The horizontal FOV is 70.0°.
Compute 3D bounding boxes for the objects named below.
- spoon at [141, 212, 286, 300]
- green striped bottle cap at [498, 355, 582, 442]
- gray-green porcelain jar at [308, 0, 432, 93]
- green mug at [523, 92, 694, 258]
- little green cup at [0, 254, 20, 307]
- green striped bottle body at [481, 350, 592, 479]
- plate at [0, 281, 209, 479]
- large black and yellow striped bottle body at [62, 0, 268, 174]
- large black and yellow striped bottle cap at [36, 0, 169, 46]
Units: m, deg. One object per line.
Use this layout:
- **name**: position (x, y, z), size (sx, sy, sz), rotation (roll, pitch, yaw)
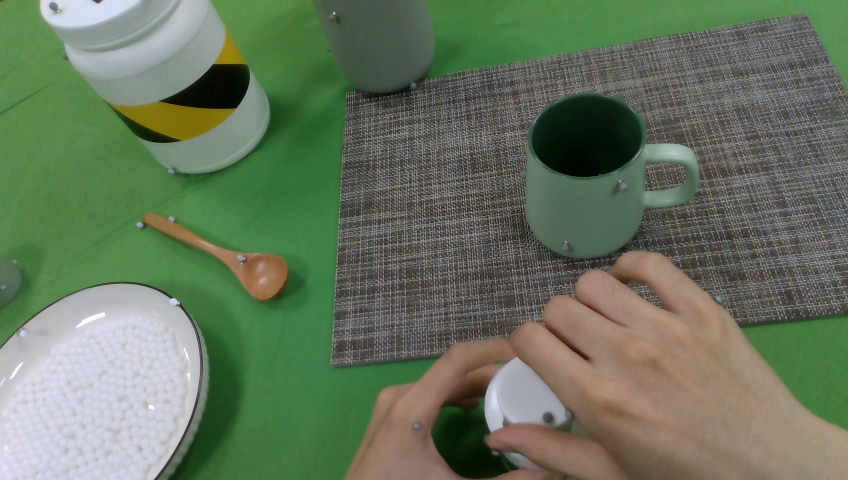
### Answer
- **spoon**: position (-0.197, 0.006, 0.551), size (0.192, 0.022, 0.041), rotation (23, 86, 23)
- **green striped bottle cap**: position (0.062, 0.085, 0.328), size (0.044, 0.020, 0.044), rotation (-13, 43, 13)
- **gray-green porcelain jar**: position (-0.051, -0.218, 0.589), size (0.106, 0.128, 0.105), rotation (-6, 54, 9)
- **green mug**: position (0.136, -0.046, 0.455), size (0.125, 0.106, 0.092), rotation (1, 59, 13)
- **little green cup**: position (-0.421, 0.037, 0.573), size (0.061, 0.039, 0.061), rotation (-5, 58, 9)
- **green striped bottle body**: position (0.070, 0.109, 0.372), size (0.063, 0.120, 0.062), rotation (-6, 59, 10)
- **plate**: position (-0.265, 0.132, 0.482), size (0.209, 0.038, 0.207), rotation (-5, 58, 9)
- **large black and yellow striped bottle body**: position (-0.242, -0.164, 0.567), size (0.130, 0.186, 0.129), rotation (-6, 59, 10)
- **large black and yellow striped bottle cap**: position (-0.259, -0.205, 0.497), size (0.115, 0.019, 0.114), rotation (-5, 57, 9)
